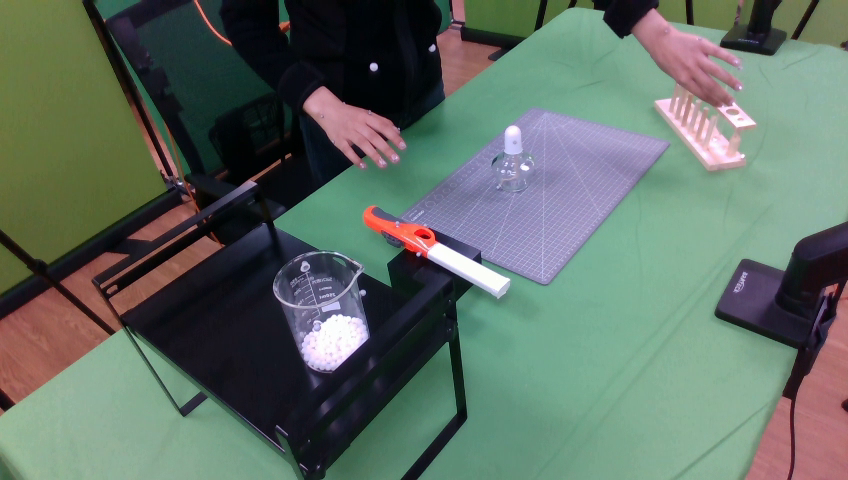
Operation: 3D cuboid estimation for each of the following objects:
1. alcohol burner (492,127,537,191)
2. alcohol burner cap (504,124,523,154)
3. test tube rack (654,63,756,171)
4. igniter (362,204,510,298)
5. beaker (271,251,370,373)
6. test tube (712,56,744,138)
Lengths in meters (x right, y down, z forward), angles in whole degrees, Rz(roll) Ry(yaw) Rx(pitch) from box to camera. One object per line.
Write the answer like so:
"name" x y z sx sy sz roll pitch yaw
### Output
"alcohol burner" 0.156 -0.146 1.046 0.078 0.119 0.077 -4 43 4
"alcohol burner cap" 0.151 -0.172 1.022 0.034 0.048 0.033 -4 36 3
"test tube rack" 0.510 -0.233 1.120 0.067 0.085 0.241 -8 41 -1
"igniter" 0.007 0.009 0.887 0.274 0.025 0.057 29 50 32
"beaker" -0.090 0.070 0.571 0.084 0.101 0.073 -18 42 -13
"test tube" 0.530 -0.246 1.056 0.017 0.151 0.017 -1 38 1
